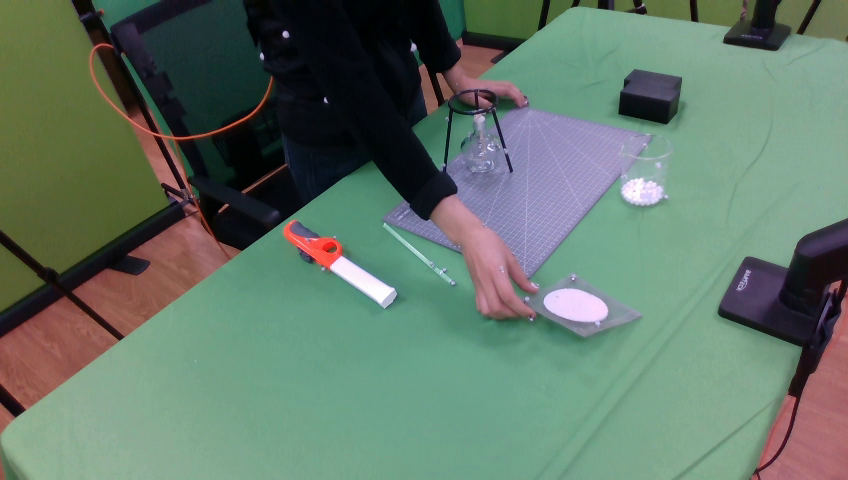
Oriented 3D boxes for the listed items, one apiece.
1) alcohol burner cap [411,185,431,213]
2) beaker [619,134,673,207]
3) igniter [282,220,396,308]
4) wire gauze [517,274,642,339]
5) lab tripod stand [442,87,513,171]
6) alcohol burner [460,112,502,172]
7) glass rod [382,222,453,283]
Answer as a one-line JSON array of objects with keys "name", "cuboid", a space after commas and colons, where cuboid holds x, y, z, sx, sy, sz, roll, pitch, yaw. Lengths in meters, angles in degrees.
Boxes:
[{"name": "alcohol burner cap", "cuboid": [-0.007, -0.074, 1.050, 0.034, 0.048, 0.033, -4, 41, 4]}, {"name": "beaker", "cuboid": [0.357, -0.110, 0.986, 0.084, 0.101, 0.073, -10, 40, 1]}, {"name": "igniter", "cuboid": [-0.145, 0.032, 0.966, 0.274, 0.025, 0.057, 30, 65, 37]}, {"name": "wire gauze", "cuboid": [0.212, 0.090, 0.825, 0.126, 0.011, 0.120, -15, 33, -35]}, {"name": "lab tripod stand", "cuboid": [0.098, -0.200, 1.108, 0.148, 0.132, 0.147, -4, 40, 4]}, {"name": "alcohol burner", "cuboid": [0.103, -0.185, 1.105, 0.078, 0.119, 0.077, -4, 42, 4]}, {"name": "glass rod", "cuboid": [-0.013, 0.016, 0.976, 0.008, 0.008, 0.198, -29, 44, -21]}]
